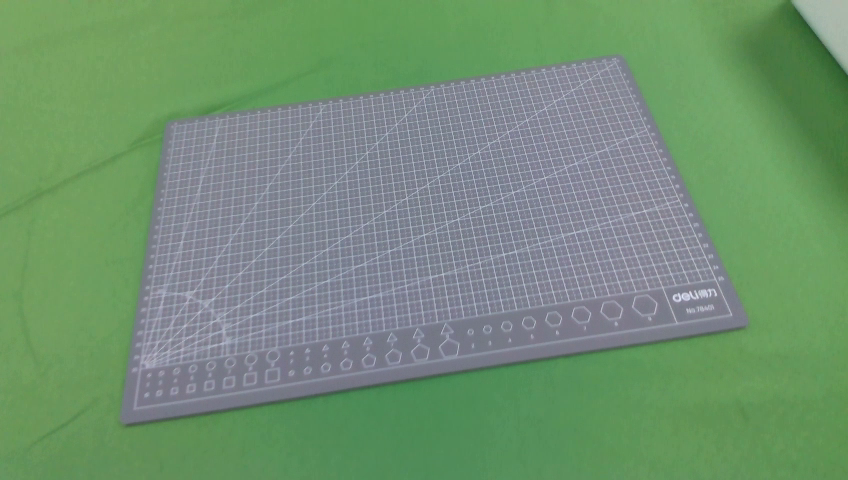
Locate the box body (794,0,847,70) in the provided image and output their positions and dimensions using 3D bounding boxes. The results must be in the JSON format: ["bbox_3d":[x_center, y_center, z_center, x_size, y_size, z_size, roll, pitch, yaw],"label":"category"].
[{"bbox_3d":[0.501,-0.182,0.472,0.254,0.162,0.360,-9,56,-1],"label":"box body"}]
